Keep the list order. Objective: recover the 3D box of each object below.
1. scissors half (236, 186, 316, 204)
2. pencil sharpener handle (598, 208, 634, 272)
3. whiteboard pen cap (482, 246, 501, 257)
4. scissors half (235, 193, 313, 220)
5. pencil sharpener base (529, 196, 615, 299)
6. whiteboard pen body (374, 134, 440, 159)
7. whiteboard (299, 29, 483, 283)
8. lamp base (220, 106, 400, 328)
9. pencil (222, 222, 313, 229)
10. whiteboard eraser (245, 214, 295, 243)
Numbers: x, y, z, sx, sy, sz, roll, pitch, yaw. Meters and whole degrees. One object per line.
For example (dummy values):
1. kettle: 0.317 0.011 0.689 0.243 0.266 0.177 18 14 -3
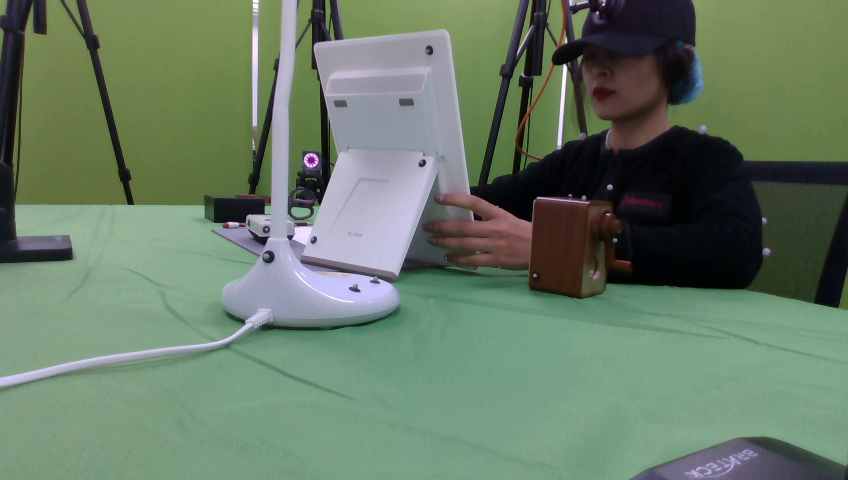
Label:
1. scissors half: -0.320 -0.097 1.316 0.176 0.040 0.013 -3 11 -29
2. pencil sharpener handle: 0.208 0.000 0.644 0.030 0.068 0.036 10 23 42
3. whiteboard pen cap: 0.104 0.017 0.936 0.018 0.018 0.033 -1 3 -22
4. scissors half: -0.324 -0.077 1.319 0.176 0.040 0.012 17 6 -31
5. pencil sharpener base: 0.168 0.007 0.678 0.076 0.107 0.062 10 10 42
6. whiteboard pen body: -0.023 -0.134 0.854 0.017 0.017 0.141 8 1 37
7. whiteboard: -0.074 -0.082 0.742 0.216 0.305 0.144 9 29 37
8. lamp base: -0.101 -0.023 0.531 0.160 0.180 0.179 4 10 10
9. pencil: -0.302 -0.030 1.188 0.195 0.012 0.012 -2 9 -42
10. whiteboard eraser: -0.247 -0.018 0.965 0.056 0.042 0.112 0 8 -28
